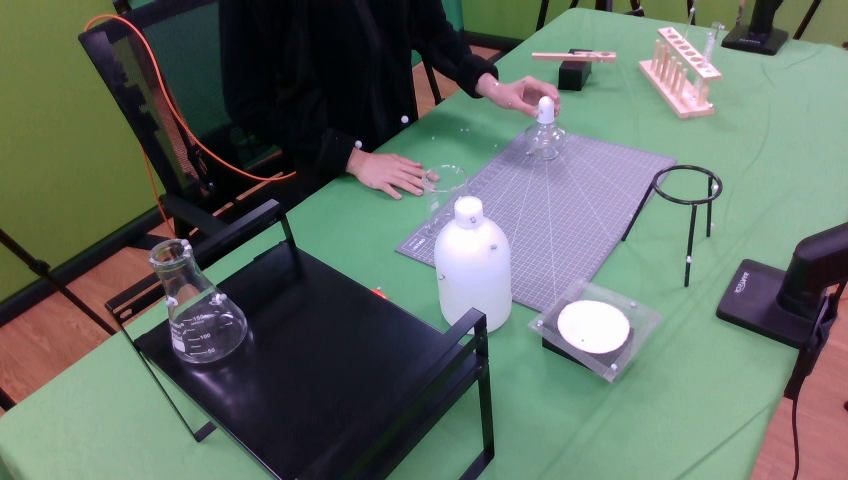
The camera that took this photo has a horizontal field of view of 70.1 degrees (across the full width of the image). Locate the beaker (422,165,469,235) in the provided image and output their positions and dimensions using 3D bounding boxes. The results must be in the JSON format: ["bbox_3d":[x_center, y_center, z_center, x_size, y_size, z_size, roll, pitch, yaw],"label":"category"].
[{"bbox_3d":[0.041,-0.063,0.986,0.073,0.101,0.084,20,47,29],"label":"beaker"}]

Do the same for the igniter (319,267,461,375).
[{"bbox_3d":[-0.060,0.108,0.862,0.274,0.025,0.057,28,62,35],"label":"igniter"}]

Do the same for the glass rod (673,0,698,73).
[{"bbox_3d":[0.537,-0.425,1.244,0.008,0.200,0.008,0,47,0],"label":"glass rod"}]

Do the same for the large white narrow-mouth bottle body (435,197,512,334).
[{"bbox_3d":[0.066,0.029,0.805,0.102,0.195,0.101,-4,40,4],"label":"large white narrow-mouth bottle body"}]

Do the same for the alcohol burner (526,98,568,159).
[{"bbox_3d":[0.228,-0.210,1.118,0.078,0.119,0.077,-5,43,5],"label":"alcohol burner"}]

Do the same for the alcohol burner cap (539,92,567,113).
[{"bbox_3d":[0.231,-0.245,1.086,0.048,0.034,0.033,-8,40,11],"label":"alcohol burner cap"}]

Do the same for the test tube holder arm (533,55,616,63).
[{"bbox_3d":[0.329,-0.398,1.327,0.178,0.015,0.013,5,51,15],"label":"test tube holder arm"}]

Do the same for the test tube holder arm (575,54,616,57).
[{"bbox_3d":[0.373,-0.398,1.318,0.087,0.015,0.010,5,51,15],"label":"test tube holder arm"}]

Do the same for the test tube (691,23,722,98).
[{"bbox_3d":[0.547,-0.345,1.173,0.017,0.151,0.017,0,42,0],"label":"test tube"}]

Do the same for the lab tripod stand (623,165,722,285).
[{"bbox_3d":[0.365,-0.030,0.874,0.148,0.132,0.147,-6,41,6],"label":"lab tripod stand"}]

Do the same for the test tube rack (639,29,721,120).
[{"bbox_3d":[0.527,-0.351,1.262,0.067,0.085,0.241,-7,40,1],"label":"test tube rack"}]

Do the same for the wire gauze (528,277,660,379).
[{"bbox_3d":[0.214,0.103,0.763,0.124,0.011,0.122,30,52,35],"label":"wire gauze"}]

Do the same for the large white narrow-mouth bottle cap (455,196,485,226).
[{"bbox_3d":[0.057,-0.036,0.749,0.038,0.024,0.037,-4,40,4],"label":"large white narrow-mouth bottle cap"}]

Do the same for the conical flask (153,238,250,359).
[{"bbox_3d":[-0.225,0.055,0.597,0.075,0.122,0.075,-5,41,4],"label":"conical flask"}]
